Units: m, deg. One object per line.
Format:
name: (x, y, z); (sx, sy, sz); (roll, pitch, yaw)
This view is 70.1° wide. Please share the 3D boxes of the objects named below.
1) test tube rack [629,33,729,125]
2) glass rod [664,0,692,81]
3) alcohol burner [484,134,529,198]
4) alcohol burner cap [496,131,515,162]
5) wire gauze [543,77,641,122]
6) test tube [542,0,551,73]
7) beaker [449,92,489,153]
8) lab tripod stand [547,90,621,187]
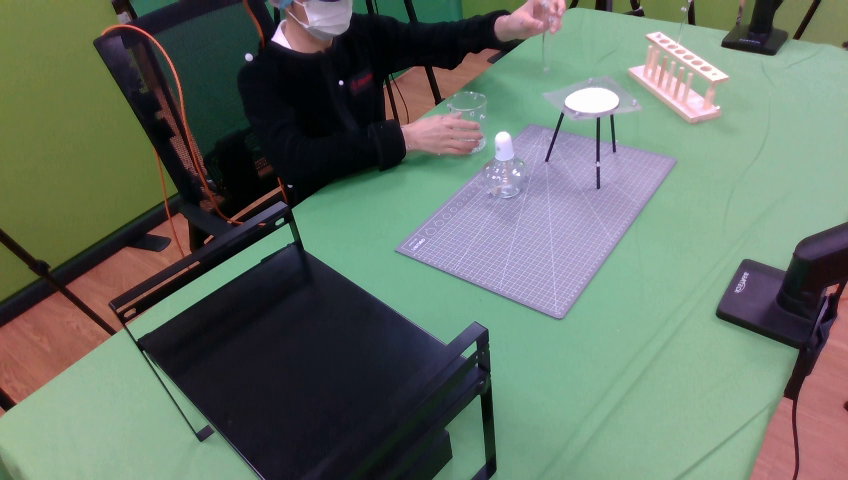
test tube rack: (0.516, -0.337, 1.247); (0.067, 0.085, 0.240); (-14, 41, -7)
glass rod: (0.524, -0.419, 1.240); (0.008, 0.200, 0.008); (1, 42, -1)
alcohol burner: (0.141, -0.133, 1.041); (0.078, 0.119, 0.077); (-5, 43, 5)
alcohol burner cap: (0.135, -0.160, 1.019); (0.034, 0.048, 0.033); (-8, 38, 6)
wire gauze: (0.282, -0.236, 1.020); (0.125, 0.011, 0.120); (-15, 40, -6)
test tube: (0.236, -0.388, 1.163); (0.017, 0.151, 0.017); (-6, 48, 7)
beaker: (0.091, -0.228, 1.177); (0.073, 0.101, 0.084); (15, 45, 24)
lab tripod stand: (0.289, -0.184, 1.062); (0.148, 0.132, 0.147); (-6, 41, 6)
